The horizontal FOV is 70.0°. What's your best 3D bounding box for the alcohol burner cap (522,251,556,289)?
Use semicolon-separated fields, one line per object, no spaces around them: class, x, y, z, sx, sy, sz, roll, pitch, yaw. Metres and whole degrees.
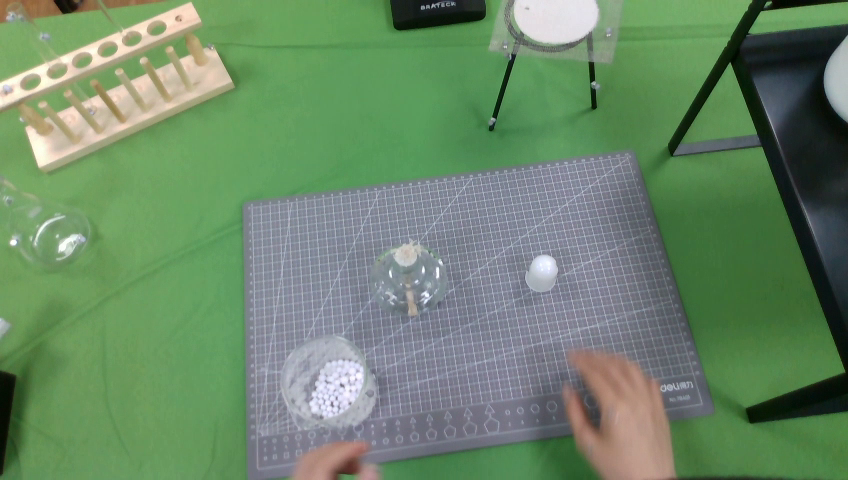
alcohol burner cap;0.120;0.028;0.623;0.034;0.048;0.033;0;67;1

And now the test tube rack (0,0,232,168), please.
test tube rack;-0.359;-0.181;0.702;0.242;0.086;0.066;-28;69;-9

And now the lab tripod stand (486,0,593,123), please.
lab tripod stand;0.129;-0.208;0.672;0.148;0.132;0.147;0;66;0

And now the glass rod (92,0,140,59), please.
glass rod;-0.343;-0.242;0.654;0.008;0.201;0.008;-4;62;8

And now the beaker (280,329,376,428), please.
beaker;-0.085;0.134;0.555;0.074;0.101;0.083;21;70;11

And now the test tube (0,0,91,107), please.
test tube;-0.404;-0.198;0.656;0.017;0.151;0.017;-1;61;2

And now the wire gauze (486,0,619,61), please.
wire gauze;0.134;-0.237;0.610;0.121;0.011;0.124;13;69;5

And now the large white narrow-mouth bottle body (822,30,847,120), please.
large white narrow-mouth bottle body;0.375;-0.162;0.418;0.102;0.196;0.101;-1;67;3

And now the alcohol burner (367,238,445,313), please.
alcohol burner;-0.018;0.028;0.588;0.078;0.120;0.077;0;66;0

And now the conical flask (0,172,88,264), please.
conical flask;-0.412;-0.029;0.621;0.075;0.123;0.075;-1;67;2

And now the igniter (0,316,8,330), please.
igniter;-0.473;0.186;0.536;0.057;0.025;0.275;19;68;19
